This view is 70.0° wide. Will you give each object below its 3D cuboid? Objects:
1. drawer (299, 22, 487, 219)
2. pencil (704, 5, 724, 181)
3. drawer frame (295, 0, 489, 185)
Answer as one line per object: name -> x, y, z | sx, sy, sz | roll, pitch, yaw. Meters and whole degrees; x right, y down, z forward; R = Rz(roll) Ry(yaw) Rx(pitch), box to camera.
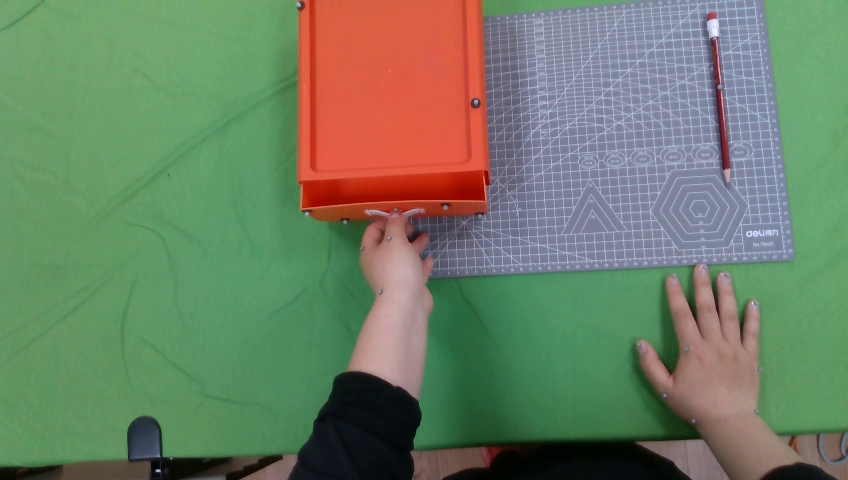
drawer -> -0.033, -0.131, 0.658 | 0.194, 0.073, 0.211 | -3, 81, 8
pencil -> 0.315, -0.159, 0.654 | 0.012, 0.012, 0.193 | -2, 85, 7
drawer frame -> -0.035, -0.162, 0.662 | 0.201, 0.083, 0.213 | -4, 81, 8
